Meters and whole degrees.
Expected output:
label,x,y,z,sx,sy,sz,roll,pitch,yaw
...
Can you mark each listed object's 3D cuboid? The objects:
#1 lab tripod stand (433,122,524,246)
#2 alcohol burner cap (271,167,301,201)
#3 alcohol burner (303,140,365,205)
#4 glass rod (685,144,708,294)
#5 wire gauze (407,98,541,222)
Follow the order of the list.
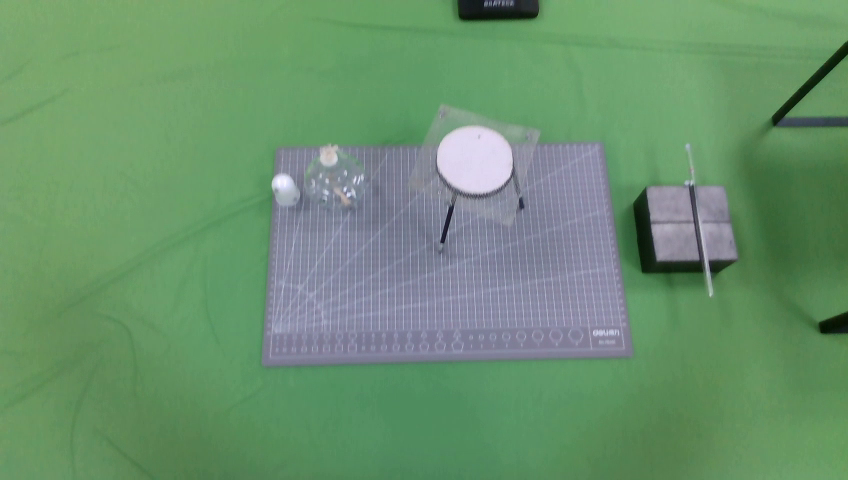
label,x,y,z,sx,sy,sz,roll,pitch,yaw
lab tripod stand,0.059,-0.073,0.737,0.148,0.132,0.147,1,69,-2
alcohol burner cap,-0.179,-0.074,0.780,0.034,0.048,0.033,-1,70,2
alcohol burner,-0.112,-0.090,0.749,0.078,0.120,0.077,1,70,-2
glass rod,0.335,-0.030,0.747,0.008,0.008,0.198,2,71,0
wire gauze,0.057,-0.094,0.674,0.125,0.011,0.121,20,71,5
